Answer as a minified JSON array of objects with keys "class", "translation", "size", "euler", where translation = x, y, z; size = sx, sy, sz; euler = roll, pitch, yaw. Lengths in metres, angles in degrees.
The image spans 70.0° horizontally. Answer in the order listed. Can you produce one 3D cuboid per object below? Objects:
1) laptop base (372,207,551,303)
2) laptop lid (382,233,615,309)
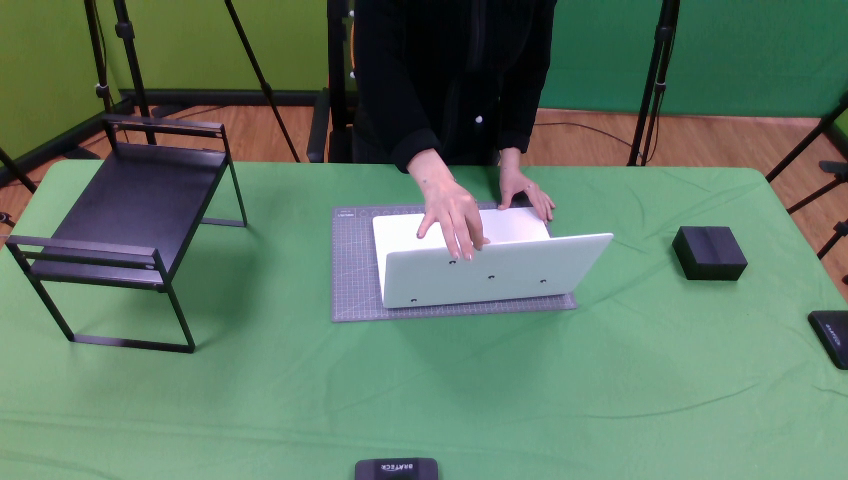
[{"class":"laptop base","translation":[0.083,0.027,1.178],"size":[0.355,0.023,0.234],"euler":[-4,43,-8]},{"class":"laptop lid","translation":[0.109,0.057,0.993],"size":[0.357,0.242,0.013],"euler":[-4,64,-9]}]
